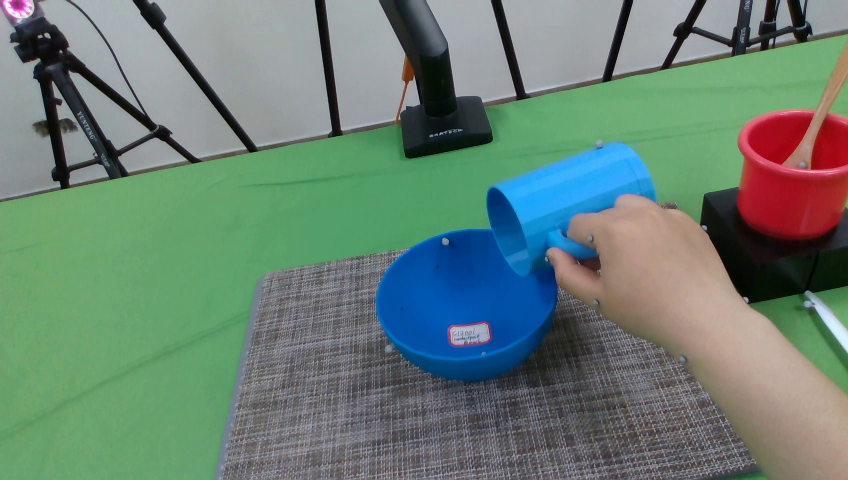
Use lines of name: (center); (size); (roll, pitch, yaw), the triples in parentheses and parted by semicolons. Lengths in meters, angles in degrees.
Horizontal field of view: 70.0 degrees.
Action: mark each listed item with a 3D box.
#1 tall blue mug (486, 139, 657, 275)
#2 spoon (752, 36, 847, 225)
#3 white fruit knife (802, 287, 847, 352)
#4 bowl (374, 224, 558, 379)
tall blue mug: (0.116, -0.027, 0.462); (0.108, 0.077, 0.107); (-20, -1, -10)
spoon: (0.331, -0.102, 0.508); (0.041, 0.022, 0.194); (28, 99, 40)
white fruit knife: (0.337, 0.106, 0.445); (0.027, 0.016, 0.205); (11, 36, -13)
bowl: (0.039, 0.065, 0.516); (0.151, 0.077, 0.150); (-8, 40, 7)
